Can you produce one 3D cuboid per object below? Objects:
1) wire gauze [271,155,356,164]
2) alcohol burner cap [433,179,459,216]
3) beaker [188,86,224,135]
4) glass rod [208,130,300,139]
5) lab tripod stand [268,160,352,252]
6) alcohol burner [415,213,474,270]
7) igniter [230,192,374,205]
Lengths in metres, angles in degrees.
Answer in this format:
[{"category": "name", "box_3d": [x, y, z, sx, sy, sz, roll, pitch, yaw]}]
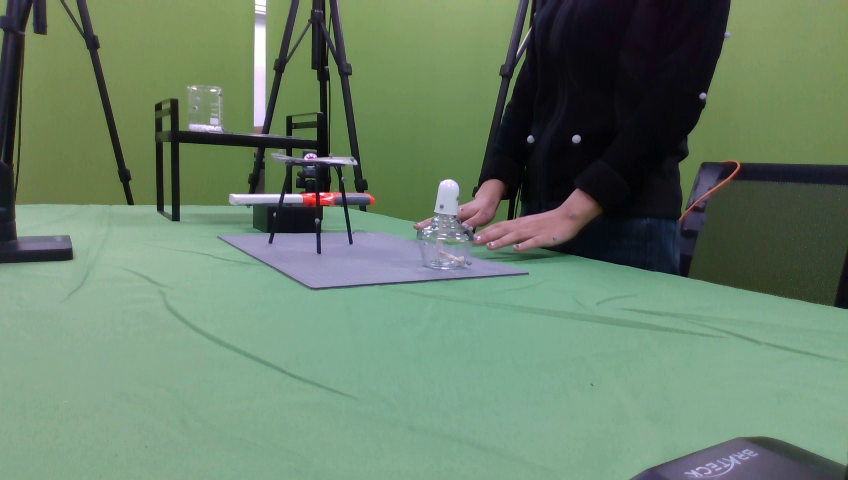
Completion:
[{"category": "wire gauze", "box_3d": [-0.167, -0.122, 0.917, 0.125, 0.011, 0.121, 0, 7, -9]}, {"category": "alcohol burner cap", "box_3d": [0.031, -0.055, 0.792, 0.034, 0.048, 0.034, 6, 9, -1]}, {"category": "beaker", "box_3d": [-0.474, -0.280, 1.311, 0.074, 0.100, 0.084, 5, 8, 26]}, {"category": "glass rod", "box_3d": [-0.367, -0.231, 1.321, 0.201, 0.008, 0.008, -1, 8, -30]}, {"category": "lab tripod stand", "box_3d": [-0.171, -0.055, 0.921, 0.148, 0.131, 0.148, 1, 8, 0]}, {"category": "alcohol burner", "box_3d": [0.028, -0.020, 0.798, 0.078, 0.119, 0.078, 4, 5, 0]}, {"category": "igniter", "box_3d": [-0.228, -0.079, 1.164, 0.278, 0.025, 0.057, -2, 14, -30]}]
